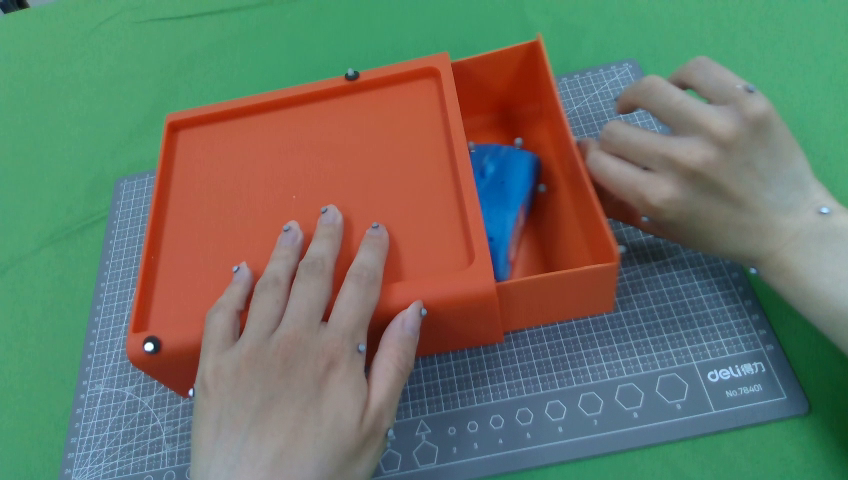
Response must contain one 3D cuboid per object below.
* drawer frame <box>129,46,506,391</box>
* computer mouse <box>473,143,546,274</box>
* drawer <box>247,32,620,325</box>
[{"bbox_3d":[-0.065,-0.018,0.409,0.213,0.083,0.199,-12,57,5],"label":"drawer frame"},{"bbox_3d":[0.039,-0.027,0.408,0.062,0.041,0.116,10,52,23],"label":"computer mouse"},{"bbox_3d":[0.000,-0.035,0.404,0.212,0.074,0.192,-10,56,4],"label":"drawer"}]
